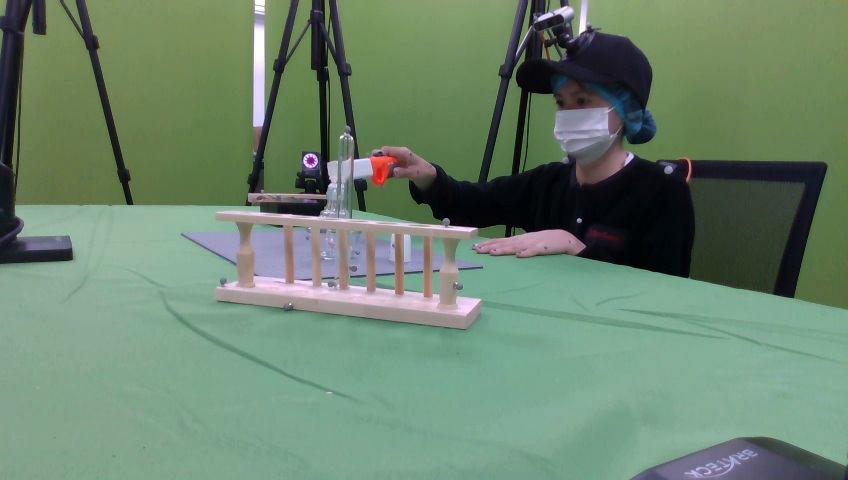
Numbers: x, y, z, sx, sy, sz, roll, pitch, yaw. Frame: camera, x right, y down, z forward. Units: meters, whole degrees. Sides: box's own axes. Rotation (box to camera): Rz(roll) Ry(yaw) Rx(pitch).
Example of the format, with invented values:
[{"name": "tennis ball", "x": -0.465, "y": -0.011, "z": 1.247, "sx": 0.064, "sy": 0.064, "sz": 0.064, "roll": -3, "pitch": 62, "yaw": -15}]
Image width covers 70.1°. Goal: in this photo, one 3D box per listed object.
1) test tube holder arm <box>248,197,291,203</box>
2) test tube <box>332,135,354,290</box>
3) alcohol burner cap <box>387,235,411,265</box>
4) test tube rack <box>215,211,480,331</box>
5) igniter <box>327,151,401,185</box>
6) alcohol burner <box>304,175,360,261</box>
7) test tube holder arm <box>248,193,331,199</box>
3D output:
[{"name": "test tube holder arm", "x": -0.303, "y": -0.080, "z": 1.191, "sx": 0.088, "sy": 0.010, "sz": 0.015, "roll": -6, "pitch": 18, "yaw": -39}, {"name": "test tube", "x": -0.078, "y": -0.025, "z": 0.581, "sx": 0.017, "sy": 0.150, "sz": 0.017, "roll": 3, "pitch": 7, "yaw": 0}, {"name": "alcohol burner cap", "x": -0.035, "y": 0.009, "z": 0.839, "sx": 0.034, "sy": 0.048, "sz": 0.034, "roll": 2, "pitch": 6, "yaw": 0}, {"name": "test tube rack", "x": -0.071, "y": 0.022, "z": 0.565, "sx": 0.242, "sy": 0.085, "sz": 0.067, "roll": 5, "pitch": 7, "yaw": 16}, {"name": "igniter", "x": -0.089, "y": -0.115, "z": 0.979, "sx": 0.025, "sy": 0.057, "sz": 0.277, "roll": -9, "pitch": 6, "yaw": 17}, {"name": "alcohol burner", "x": -0.126, "y": -0.031, "z": 0.838, "sx": 0.078, "sy": 0.119, "sz": 0.078, "roll": 3, "pitch": 5, "yaw": 0}, {"name": "test tube holder arm", "x": -0.268, "y": -0.089, "z": 1.218, "sx": 0.179, "sy": 0.013, "sz": 0.015, "roll": -6, "pitch": 18, "yaw": -40}]
